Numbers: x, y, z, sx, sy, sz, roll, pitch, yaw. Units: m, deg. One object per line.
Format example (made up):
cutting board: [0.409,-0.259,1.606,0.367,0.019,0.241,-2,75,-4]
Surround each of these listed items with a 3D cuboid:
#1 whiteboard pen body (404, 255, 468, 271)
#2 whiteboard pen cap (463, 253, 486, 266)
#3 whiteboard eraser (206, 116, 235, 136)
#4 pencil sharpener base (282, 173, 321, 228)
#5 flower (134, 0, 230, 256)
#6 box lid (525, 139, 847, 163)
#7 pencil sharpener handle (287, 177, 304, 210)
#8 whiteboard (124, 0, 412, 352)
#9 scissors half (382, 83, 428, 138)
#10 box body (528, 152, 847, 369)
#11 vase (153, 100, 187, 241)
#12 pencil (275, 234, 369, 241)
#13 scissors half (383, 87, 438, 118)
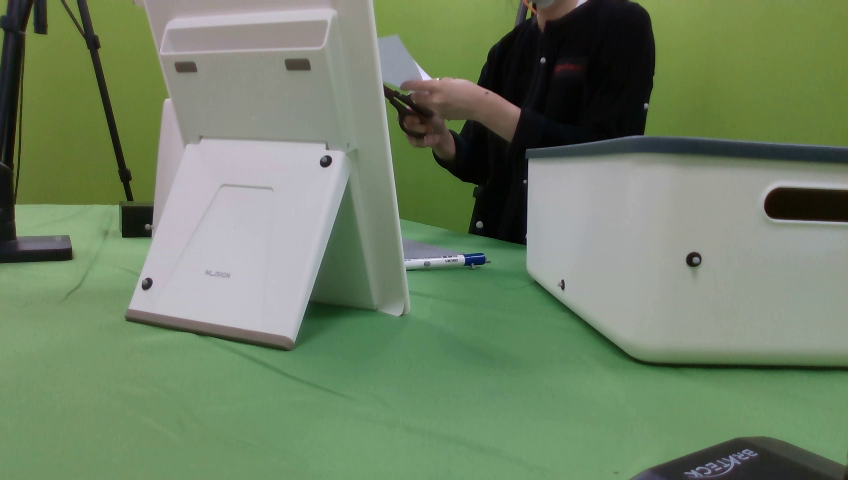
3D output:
whiteboard pen body: [0.012,0.030,0.792,0.141,0.017,0.017,-3,9,-24]
whiteboard pen cap: [0.066,0.027,0.818,0.033,0.018,0.018,-6,10,-24]
whiteboard eraser: [-0.450,-0.252,1.335,0.056,0.042,0.112,1,7,-22]
pencil sharpener base: [-0.247,-0.080,1.212,0.061,0.107,0.076,-2,5,-28]
flower: [-0.282,-0.147,0.713,0.038,0.362,0.044,-23,24,-31]
box lid: [0.261,-0.078,0.580,0.264,0.015,0.371,2,7,-4]
pencil sharpener handle: [-0.269,-0.096,1.257,0.036,0.067,0.030,-8,8,-27]
whiteboard: [-0.151,-0.049,0.472,0.216,0.305,0.144,6,27,24]
scissors half: [-0.058,-0.237,1.032,0.176,0.040,0.012,44,-19,-23]
box body: [0.258,-0.005,0.591,0.254,0.160,0.363,2,7,-4]
vase: [-0.278,-0.066,0.736,0.098,0.200,0.098,2,9,0]
pencil: [-0.169,-0.006,1.036,0.195,0.012,0.012,-2,9,-45]
scissors half: [-0.049,-0.256,1.038,0.176,0.040,0.013,17,-12,-30]
